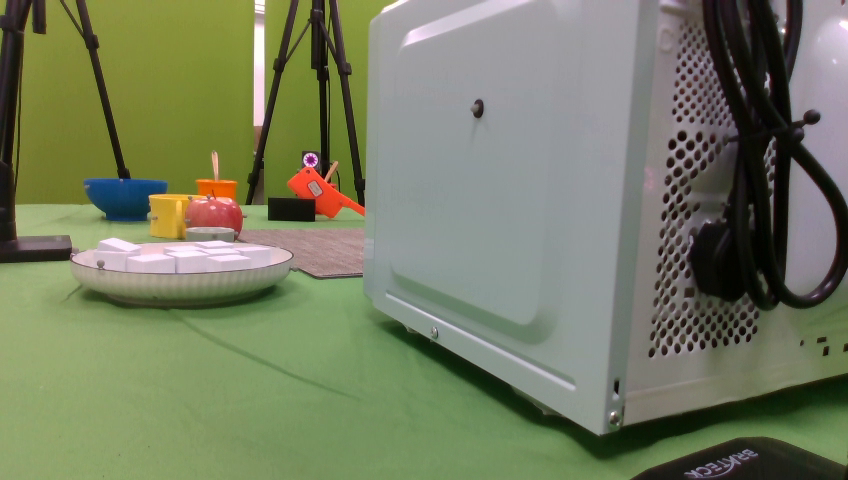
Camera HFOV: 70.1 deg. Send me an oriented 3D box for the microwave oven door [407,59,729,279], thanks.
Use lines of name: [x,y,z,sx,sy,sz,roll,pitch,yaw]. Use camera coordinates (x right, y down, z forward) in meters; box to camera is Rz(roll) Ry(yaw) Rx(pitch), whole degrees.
microwave oven door: [0.162,-0.084,0.714,0.356,0.243,0.039,3,8,4]

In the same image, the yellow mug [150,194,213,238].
yellow mug: [-0.401,-0.040,1.003,0.100,0.064,0.130,-1,9,-20]

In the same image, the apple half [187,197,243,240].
apple half: [-0.305,-0.026,0.907,0.053,0.074,0.081,13,8,32]

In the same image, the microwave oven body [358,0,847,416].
microwave oven body: [0.211,-0.047,0.475,0.444,0.260,0.324,-1,7,-28]

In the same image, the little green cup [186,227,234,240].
little green cup: [-0.285,0.005,0.805,0.061,0.038,0.061,2,8,0]

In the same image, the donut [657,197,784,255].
donut: [0.252,-0.012,0.518,0.099,0.048,0.099,2,8,0]

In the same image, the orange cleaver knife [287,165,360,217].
orange cleaver knife: [-0.210,-0.093,1.382,0.212,0.077,0.012,33,1,-15]

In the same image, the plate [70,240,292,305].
plate: [-0.242,0.031,0.618,0.208,0.039,0.207,2,8,0]

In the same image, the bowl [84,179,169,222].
bowl: [-0.584,-0.078,1.194,0.151,0.077,0.151,3,8,0]

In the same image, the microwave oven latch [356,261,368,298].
microwave oven latch: [-0.019,0.033,0.530,0.079,0.029,0.030,0,7,-26]

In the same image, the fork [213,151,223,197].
fork: [-0.493,-0.143,1.442,0.028,0.018,0.206,-3,52,-18]

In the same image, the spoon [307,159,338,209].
spoon: [-0.257,-0.146,1.567,0.041,0.022,0.193,1,51,20]

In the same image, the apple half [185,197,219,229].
apple half: [-0.338,-0.031,0.927,0.032,0.081,0.081,12,12,31]
